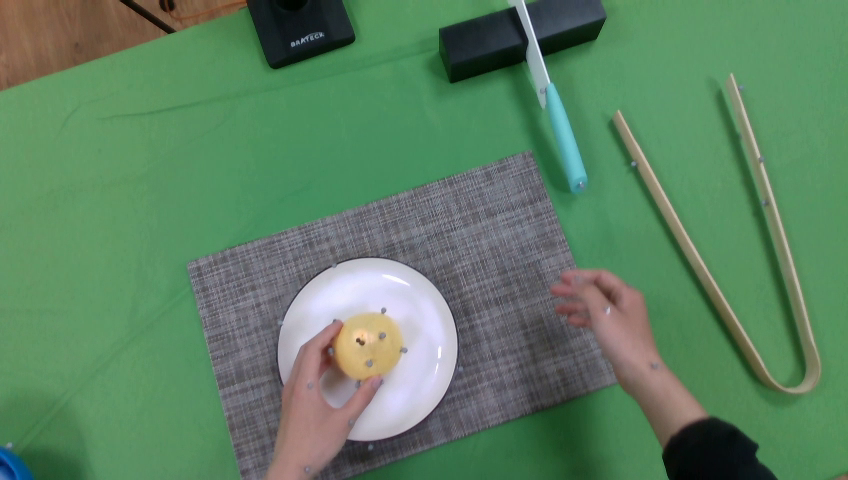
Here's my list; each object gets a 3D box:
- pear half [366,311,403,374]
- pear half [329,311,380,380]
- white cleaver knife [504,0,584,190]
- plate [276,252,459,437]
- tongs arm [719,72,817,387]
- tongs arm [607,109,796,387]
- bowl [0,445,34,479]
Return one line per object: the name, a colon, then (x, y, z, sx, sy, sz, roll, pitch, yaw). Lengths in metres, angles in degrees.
pear half: (-0.041, 0.110, 0.667, 0.031, 0.088, 0.070, -15, 72, 0)
pear half: (-0.077, 0.113, 0.657, 0.056, 0.110, 0.076, -11, 70, -2)
white cleaver knife: (0.145, -0.199, 0.752, 0.021, 0.066, 0.286, -17, 88, 2)
plate: (-0.063, 0.119, 0.702, 0.208, 0.039, 0.206, 0, 78, 1)
tongs arm: (0.400, -0.020, 0.729, 0.051, 0.026, 0.383, -13, 79, 0)
tongs arm: (0.323, 0.006, 0.730, 0.028, 0.028, 0.385, -26, 79, -6)
bowl: (-0.483, 0.288, 0.654, 0.151, 0.077, 0.150, 0, 78, 0)
